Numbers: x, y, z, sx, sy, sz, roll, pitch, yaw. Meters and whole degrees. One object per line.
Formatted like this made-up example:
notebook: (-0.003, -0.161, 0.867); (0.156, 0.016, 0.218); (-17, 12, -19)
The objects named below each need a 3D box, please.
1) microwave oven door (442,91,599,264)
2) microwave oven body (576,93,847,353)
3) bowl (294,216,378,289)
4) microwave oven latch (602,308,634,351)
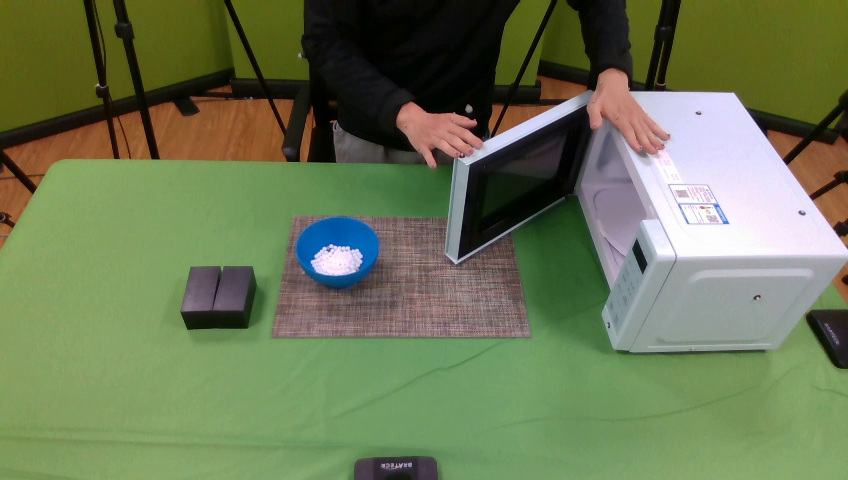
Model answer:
microwave oven door: (0.187, -0.123, 1.159); (0.356, 0.245, 0.039); (-29, 55, -29)
microwave oven body: (0.475, -0.041, 1.109); (0.326, 0.261, 0.438); (-1, 45, -4)
bowl: (-0.158, 0.036, 1.110); (0.151, 0.077, 0.150); (3, 45, -2)
microwave oven latch: (0.332, 0.153, 1.044); (0.030, 0.029, 0.078); (-1, 45, -4)
